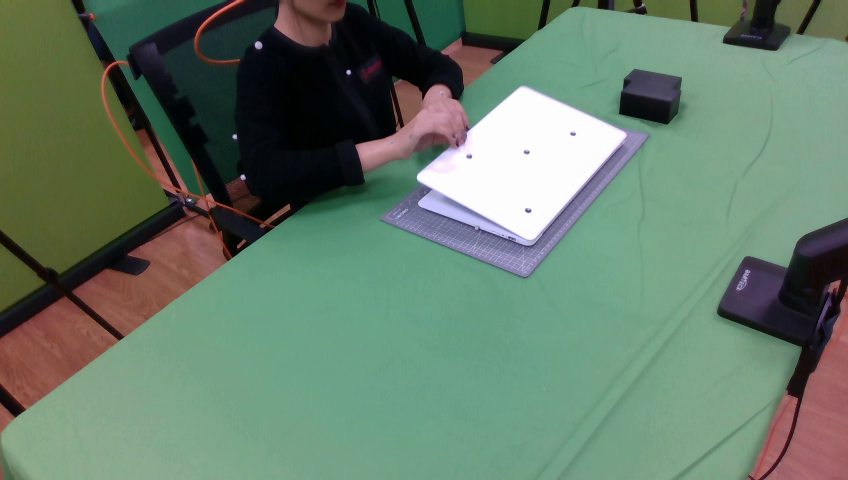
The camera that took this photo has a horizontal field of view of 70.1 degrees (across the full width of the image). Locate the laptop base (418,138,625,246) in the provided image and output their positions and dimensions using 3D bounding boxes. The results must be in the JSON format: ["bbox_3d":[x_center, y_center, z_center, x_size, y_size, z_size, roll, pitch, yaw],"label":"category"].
[{"bbox_3d":[0.183,-0.122,1.095,0.233,0.023,0.355,19,47,34],"label":"laptop base"}]

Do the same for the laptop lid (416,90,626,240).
[{"bbox_3d":[0.180,-0.151,1.069,0.240,0.013,0.358,31,53,24],"label":"laptop lid"}]
